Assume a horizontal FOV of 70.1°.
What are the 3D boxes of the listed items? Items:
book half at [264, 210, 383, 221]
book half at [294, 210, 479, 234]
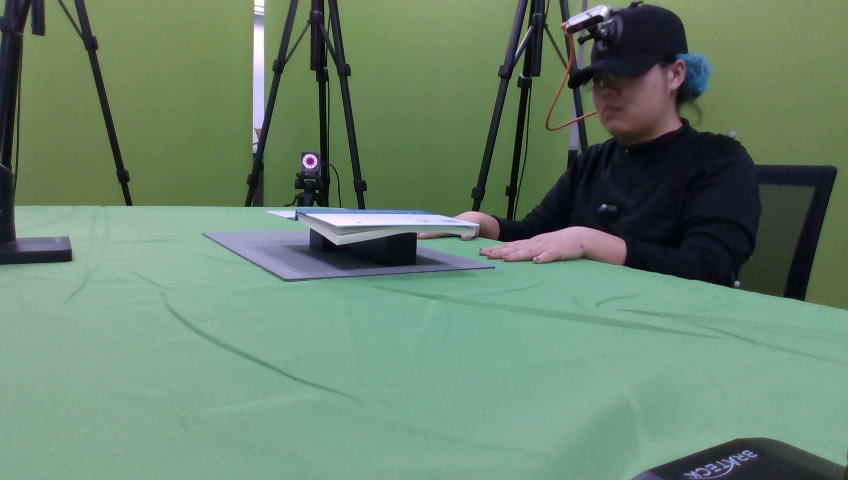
[{"bbox_3d":[-0.125,-0.038,0.944,0.211,0.007,0.142,-2,8,-32],"label":"book half"},{"bbox_3d":[-0.050,-0.025,0.824,0.211,0.016,0.148,-1,9,-32],"label":"book half"}]
